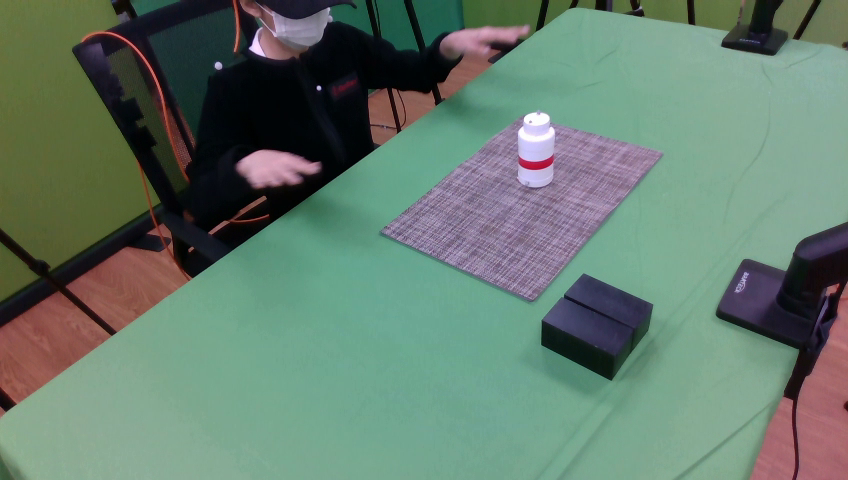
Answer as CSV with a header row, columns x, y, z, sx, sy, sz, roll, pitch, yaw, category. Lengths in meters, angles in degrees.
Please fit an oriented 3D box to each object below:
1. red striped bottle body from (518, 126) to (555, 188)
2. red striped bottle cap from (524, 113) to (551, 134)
x,y,z,sx,sy,sz,roll,pitch,yaw,category
0.195,-0.156,1.046,0.063,0.120,0.062,-5,39,4,red striped bottle body
0.190,-0.196,1.012,0.044,0.018,0.044,-6,39,6,red striped bottle cap
